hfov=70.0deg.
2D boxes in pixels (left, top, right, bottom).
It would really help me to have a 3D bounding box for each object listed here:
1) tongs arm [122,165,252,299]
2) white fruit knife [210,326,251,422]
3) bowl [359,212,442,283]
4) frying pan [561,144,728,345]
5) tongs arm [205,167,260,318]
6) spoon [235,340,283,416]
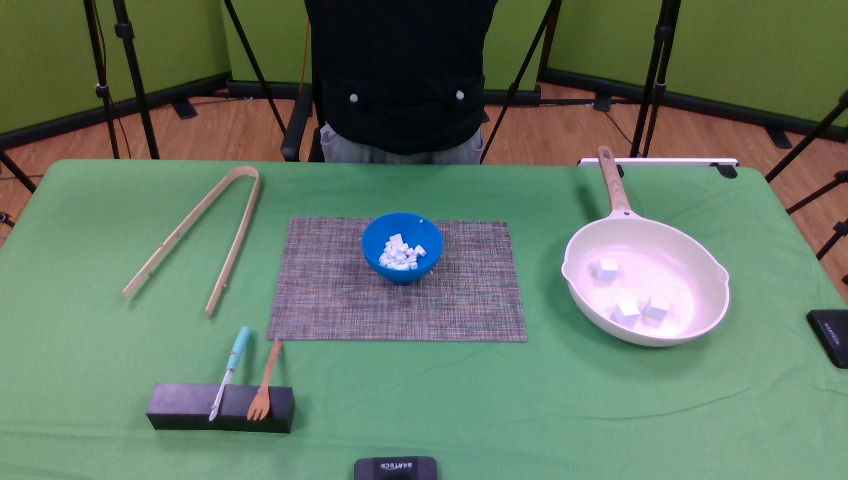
[{"bbox_3d":[-0.447,-0.027,1.178,0.051,0.026,0.383,14,46,8],"label":"tongs arm"},{"bbox_3d":[-0.300,0.201,0.941,0.016,0.027,0.206,-2,32,1],"label":"white fruit knife"},{"bbox_3d":[-0.044,0.026,1.125,0.151,0.077,0.150,2,46,-2],"label":"bowl"},{"bbox_3d":[0.397,-0.008,1.179,0.307,0.103,0.485,2,55,-4],"label":"frying pan"},{"bbox_3d":[-0.367,-0.010,1.174,0.028,0.028,0.385,2,46,1],"label":"tongs arm"},{"bbox_3d":[-0.244,0.207,0.932,0.042,0.022,0.193,28,25,-8],"label":"spoon"}]
